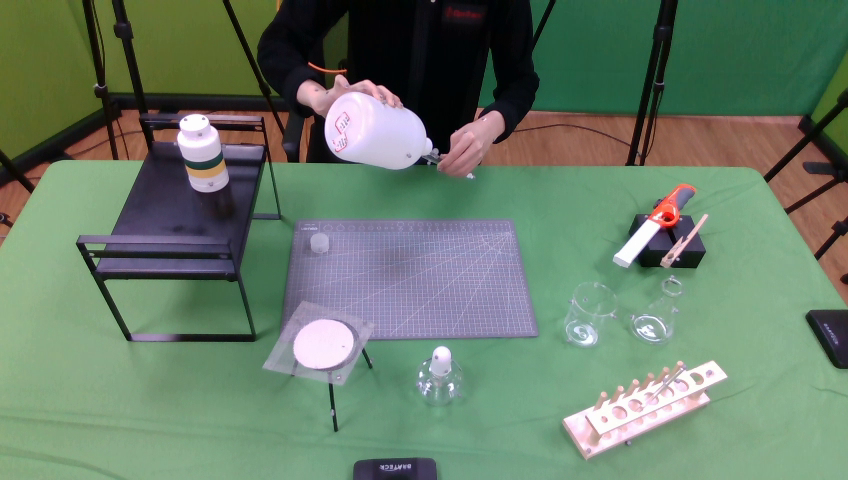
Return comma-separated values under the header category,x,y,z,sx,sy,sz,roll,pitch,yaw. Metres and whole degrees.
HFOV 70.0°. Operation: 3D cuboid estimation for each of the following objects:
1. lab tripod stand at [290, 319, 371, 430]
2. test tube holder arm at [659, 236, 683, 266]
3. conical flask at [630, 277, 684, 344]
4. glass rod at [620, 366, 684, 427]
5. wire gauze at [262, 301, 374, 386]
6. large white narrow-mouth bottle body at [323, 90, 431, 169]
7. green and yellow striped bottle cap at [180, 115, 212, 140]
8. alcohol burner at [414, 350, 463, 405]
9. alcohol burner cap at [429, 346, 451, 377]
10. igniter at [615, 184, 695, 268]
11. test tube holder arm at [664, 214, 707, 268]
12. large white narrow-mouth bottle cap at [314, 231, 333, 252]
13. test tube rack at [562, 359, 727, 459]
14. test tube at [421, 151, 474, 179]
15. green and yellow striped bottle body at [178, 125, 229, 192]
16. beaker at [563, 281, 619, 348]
category,x,y,z,sx,sy,sz,roll,pitch,yaw
lab tripod stand,-0.146,0.193,0.923,0.148,0.132,0.147,1,47,-1
test tube holder arm,0.472,0.020,1.149,0.010,0.015,0.088,35,54,27
conical flask,0.409,0.117,1.045,0.075,0.122,0.075,2,46,-2
glass rod,0.323,0.227,0.866,0.008,0.200,0.008,5,51,-7
wire gauze,-0.150,0.148,0.873,0.121,0.011,0.124,14,46,12
large white narrow-mouth bottle body,-0.059,-0.167,0.963,0.195,0.102,0.101,6,33,-50
green and yellow striped bottle cap,-0.358,-0.177,0.951,0.045,0.020,0.045,2,45,-2
alcohol burner,0.023,0.205,0.939,0.078,0.120,0.077,1,48,-1
alcohol burner cap,0.026,0.180,0.912,0.034,0.048,0.033,1,47,-1
igniter,0.459,-0.035,1.196,0.057,0.025,0.276,33,55,27
test tube holder arm,0.507,-0.001,1.171,0.013,0.015,0.178,34,54,26
large white narrow-mouth bottle cap,-0.195,0.003,1.178,0.038,0.024,0.037,2,45,-2
test tube rack,0.341,0.247,0.940,0.243,0.085,0.066,-16,49,-18
test tube,0.045,-0.137,1.096,0.151,0.017,0.017,16,28,-50
green and yellow striped bottle body,-0.361,-0.142,0.989,0.063,0.120,0.063,2,46,-2
beaker,0.283,0.129,1.041,0.074,0.101,0.083,11,46,6
